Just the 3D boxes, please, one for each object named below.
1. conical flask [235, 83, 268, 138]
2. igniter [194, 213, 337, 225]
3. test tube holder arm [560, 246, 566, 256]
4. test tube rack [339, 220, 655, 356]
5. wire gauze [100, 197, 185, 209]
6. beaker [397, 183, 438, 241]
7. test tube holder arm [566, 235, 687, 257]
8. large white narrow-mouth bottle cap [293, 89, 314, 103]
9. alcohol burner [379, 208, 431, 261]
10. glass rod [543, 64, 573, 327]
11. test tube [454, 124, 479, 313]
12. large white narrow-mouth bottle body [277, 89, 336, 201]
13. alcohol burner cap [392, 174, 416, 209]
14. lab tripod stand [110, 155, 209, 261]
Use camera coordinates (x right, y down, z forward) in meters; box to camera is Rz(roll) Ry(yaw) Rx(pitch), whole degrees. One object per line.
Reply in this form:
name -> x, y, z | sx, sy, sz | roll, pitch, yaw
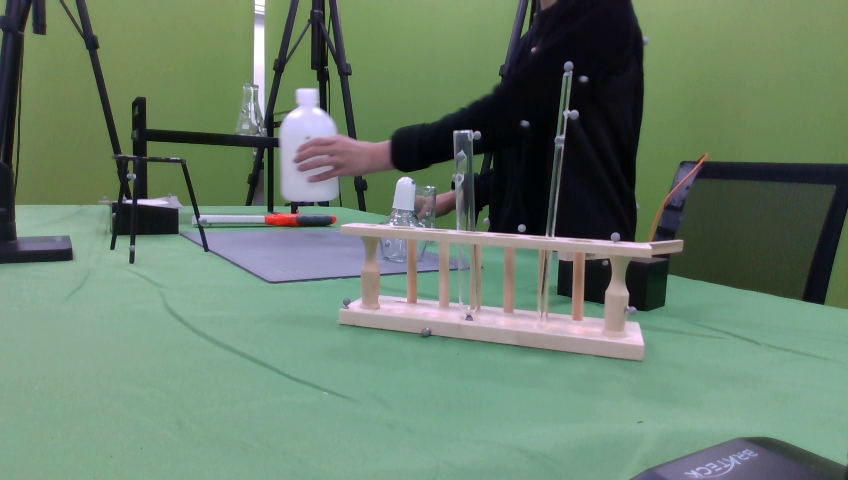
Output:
conical flask -> -0.401, -0.299, 1.406 | 0.075, 0.122, 0.075 | 2, 7, 0
igniter -> -0.306, -0.042, 1.196 | 0.278, 0.025, 0.057 | -2, -2, -31
test tube holder arm -> 0.173, 0.007, 0.612 | 0.088, 0.015, 0.010 | -3, 9, -30
test tube rack -> 0.056, 0.032, 0.495 | 0.242, 0.085, 0.067 | 4, 7, 15
wire gauze -> -0.469, -0.062, 1.008 | 0.126, 0.011, 0.121 | -2, 8, -25
beaker -> -0.011, -0.051, 1.078 | 0.074, 0.100, 0.083 | -2, 9, -26
test tube holder arm -> 0.215, 0.006, 0.630 | 0.179, 0.015, 0.013 | -3, 9, -31
large white narrow-mouth bottle cap -> -0.214, -0.254, 1.069 | 0.038, 0.024, 0.037 | -1, 10, 0
alcohol burner -> -0.027, -0.031, 0.838 | 0.078, 0.119, 0.078 | 0, 6, 0
glass rod -> 0.101, -0.028, 0.453 | 0.008, 0.199, 0.008 | 2, 14, 0
test tube -> 0.034, -0.015, 0.476 | 0.017, 0.150, 0.017 | -2, 9, 1
large white narrow-mouth bottle body -> -0.211, -0.170, 1.084 | 0.102, 0.194, 0.101 | -1, 10, 0
alcohol burner cap -> -0.025, -0.067, 0.834 | 0.034, 0.048, 0.034 | 8, 7, -1
lab tripod stand -> -0.361, -0.046, 0.806 | 0.148, 0.131, 0.148 | 2, 5, 0
